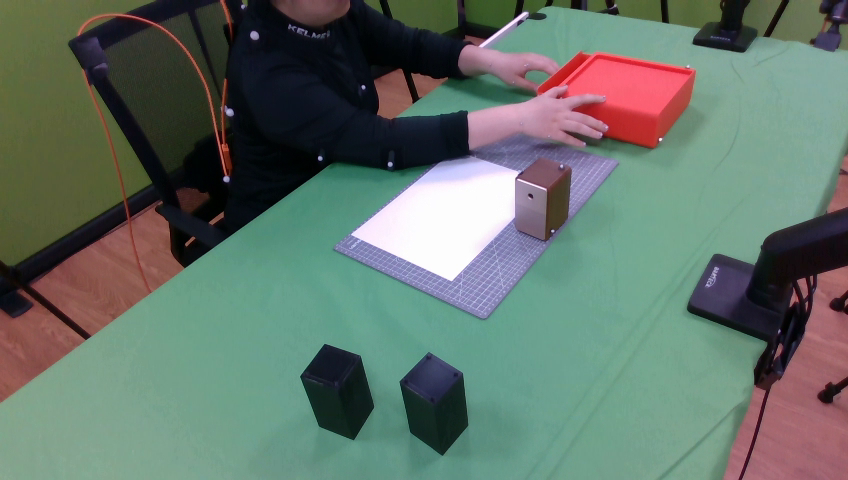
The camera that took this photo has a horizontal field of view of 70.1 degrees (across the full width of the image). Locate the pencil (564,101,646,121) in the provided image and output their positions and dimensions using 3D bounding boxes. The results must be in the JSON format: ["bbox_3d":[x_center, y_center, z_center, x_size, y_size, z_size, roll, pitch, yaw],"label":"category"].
[{"bbox_3d":[0.370,-0.265,1.228,0.195,0.012,0.012,-14,40,-16],"label":"pencil"}]

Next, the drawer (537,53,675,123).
[{"bbox_3d":[0.362,-0.291,1.214,0.210,0.073,0.195,23,48,30],"label":"drawer"}]

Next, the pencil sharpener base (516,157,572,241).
[{"bbox_3d":[0.189,-0.065,0.948,0.061,0.107,0.077,24,49,33],"label":"pencil sharpener base"}]

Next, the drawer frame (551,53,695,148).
[{"bbox_3d":[0.390,-0.281,1.196,0.212,0.083,0.202,22,48,29],"label":"drawer frame"}]

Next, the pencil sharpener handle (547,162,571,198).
[{"bbox_3d":[0.221,-0.101,0.967,0.035,0.068,0.031,18,46,38],"label":"pencil sharpener handle"}]
